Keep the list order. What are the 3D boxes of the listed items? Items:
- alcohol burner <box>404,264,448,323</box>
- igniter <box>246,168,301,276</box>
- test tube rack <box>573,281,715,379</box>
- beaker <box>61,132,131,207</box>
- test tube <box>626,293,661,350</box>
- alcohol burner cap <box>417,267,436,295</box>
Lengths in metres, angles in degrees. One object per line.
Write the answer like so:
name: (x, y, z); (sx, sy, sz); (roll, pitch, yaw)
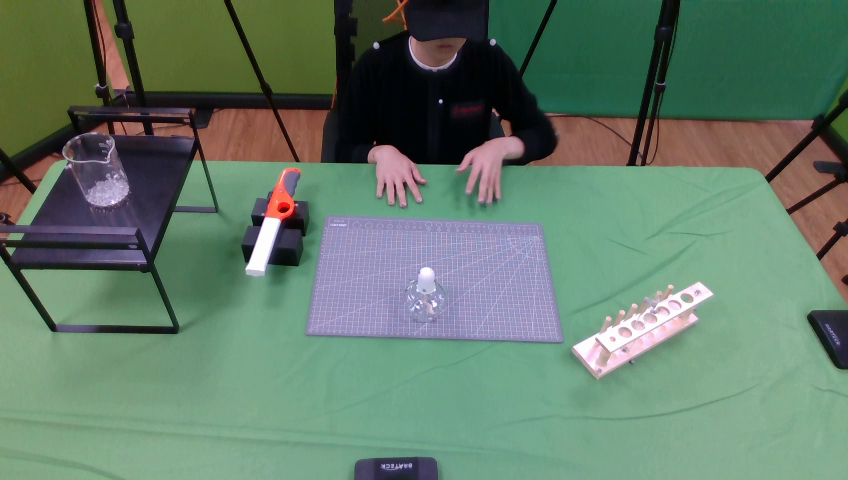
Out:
alcohol burner: (0.003, 0.087, 1.042); (0.078, 0.120, 0.077); (1, 45, 0)
igniter: (-0.282, -0.043, 1.149); (0.057, 0.025, 0.275); (8, 48, -1)
test tube rack: (0.378, 0.140, 1.038); (0.242, 0.085, 0.066); (-22, 51, -23)
beaker: (-0.512, -0.107, 0.959); (0.083, 0.101, 0.074); (29, 51, 22)
test tube: (0.350, 0.134, 0.973); (0.017, 0.151, 0.017); (1, 49, -1)
alcohol burner cap: (0.004, 0.066, 1.019); (0.034, 0.048, 0.033); (0, 47, 1)
